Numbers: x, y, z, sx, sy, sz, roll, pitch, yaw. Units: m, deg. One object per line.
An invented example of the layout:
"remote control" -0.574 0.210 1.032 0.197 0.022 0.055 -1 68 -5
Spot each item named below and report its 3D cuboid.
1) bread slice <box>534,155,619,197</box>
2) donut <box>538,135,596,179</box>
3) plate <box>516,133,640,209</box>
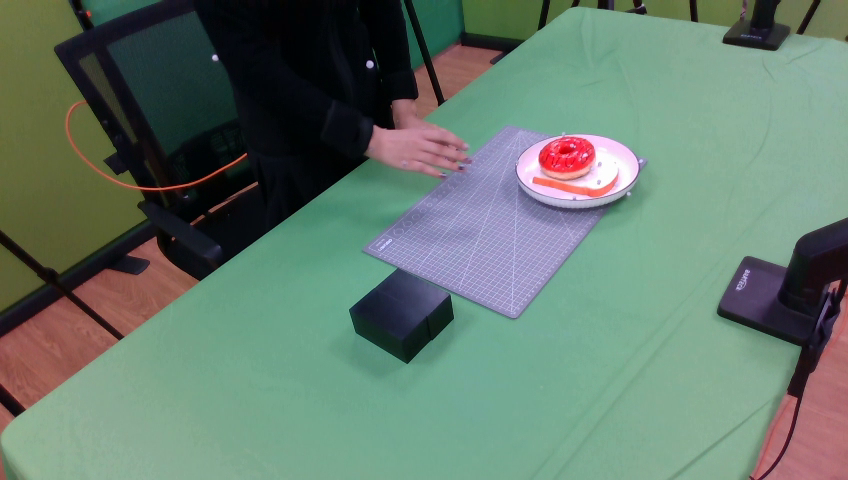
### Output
"bread slice" 0.274 -0.119 1.057 0.130 0.019 0.105 19 49 30
"donut" 0.248 -0.144 1.047 0.099 0.048 0.098 -8 41 8
"plate" 0.266 -0.117 1.055 0.209 0.038 0.208 -5 40 5
